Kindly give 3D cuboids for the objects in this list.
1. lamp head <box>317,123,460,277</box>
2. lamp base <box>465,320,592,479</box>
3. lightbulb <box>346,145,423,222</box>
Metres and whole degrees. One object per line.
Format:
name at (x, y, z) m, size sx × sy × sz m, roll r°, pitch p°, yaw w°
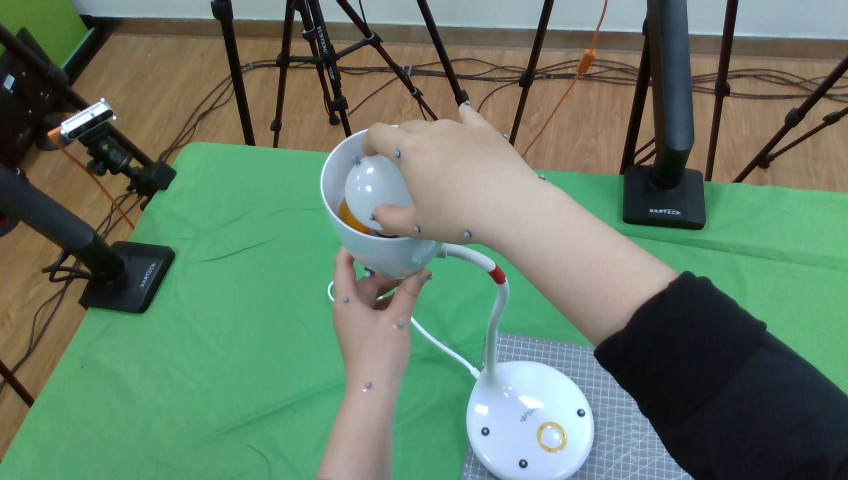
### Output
lamp head at (-0.024, -0.020, 0.515) m, size 0.112 × 0.124 × 0.111 m, roll -2°, pitch 58°, yaw 4°
lamp base at (0.113, 0.174, 0.716) m, size 0.177 × 0.182 × 0.160 m, roll 30°, pitch 63°, yaw 28°
lightbulb at (-0.025, -0.040, 0.493) m, size 0.059 × 0.108 × 0.059 m, roll -2°, pitch 81°, yaw 13°
